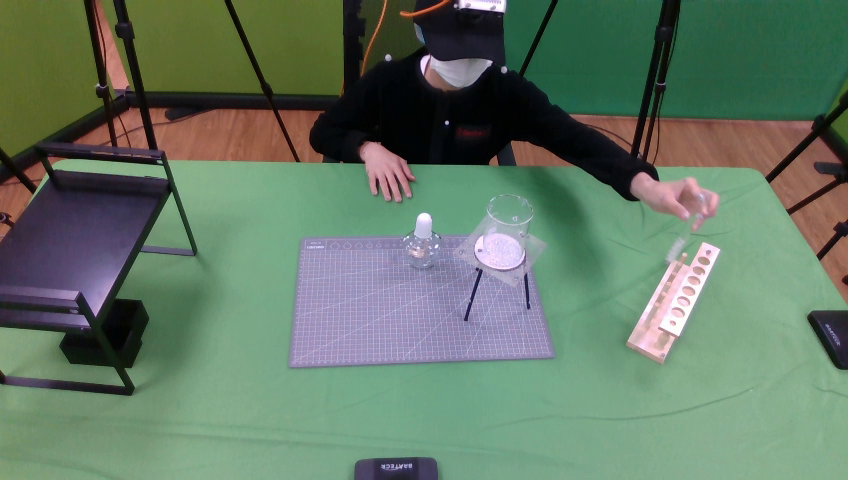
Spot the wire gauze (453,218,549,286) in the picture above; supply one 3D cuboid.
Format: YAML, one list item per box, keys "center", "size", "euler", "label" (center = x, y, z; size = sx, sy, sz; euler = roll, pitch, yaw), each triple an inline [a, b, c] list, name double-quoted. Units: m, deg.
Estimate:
- center: [0.129, 0.014, 1.018]
  size: [0.124, 0.011, 0.121]
  euler: [26, 47, 25]
  label: "wire gauze"

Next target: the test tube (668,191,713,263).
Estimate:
- center: [0.428, -0.017, 0.977]
  size: [0.017, 0.151, 0.017]
  euler: [4, 44, -4]
  label: "test tube"

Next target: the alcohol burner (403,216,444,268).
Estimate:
- center: [-0.001, -0.004, 1.132]
  size: [0.078, 0.120, 0.077]
  euler: [1, 47, -1]
  label: "alcohol burner"

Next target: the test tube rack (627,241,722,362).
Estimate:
- center: [0.452, 0.098, 1.087]
  size: [0.066, 0.085, 0.242]
  euler: [28, 51, 22]
  label: "test tube rack"

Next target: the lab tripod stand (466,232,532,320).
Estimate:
- center: [0.125, 0.059, 1.065]
  size: [0.148, 0.132, 0.147]
  euler: [1, 45, 0]
  label: "lab tripod stand"

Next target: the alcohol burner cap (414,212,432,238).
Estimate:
- center: [0.000, -0.030, 1.107]
  size: [0.034, 0.048, 0.033]
  euler: [4, 41, -3]
  label: "alcohol burner cap"

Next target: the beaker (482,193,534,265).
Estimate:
- center: [0.135, -0.016, 0.979]
  size: [0.073, 0.101, 0.084]
  euler: [35, 52, 28]
  label: "beaker"
